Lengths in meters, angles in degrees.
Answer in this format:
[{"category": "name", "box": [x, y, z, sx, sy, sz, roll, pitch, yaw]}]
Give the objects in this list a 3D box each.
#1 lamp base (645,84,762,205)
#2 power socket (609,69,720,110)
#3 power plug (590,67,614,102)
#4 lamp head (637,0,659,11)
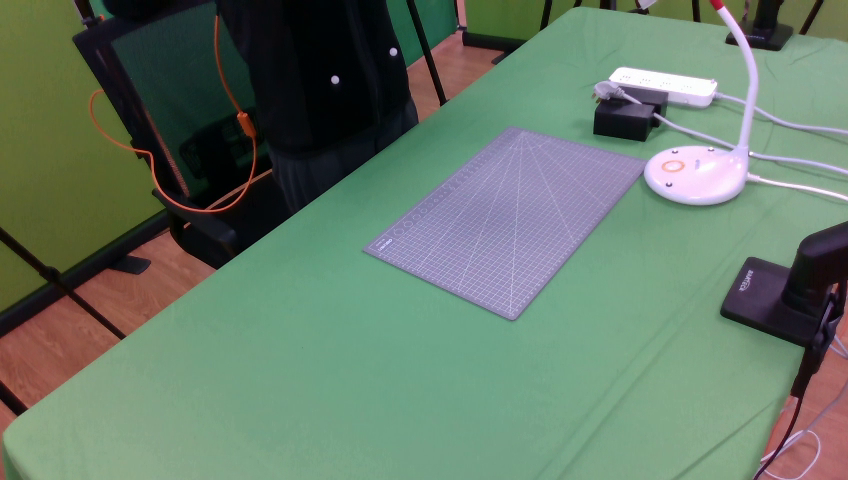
[{"category": "lamp base", "box": [0.461, -0.170, 0.975, 0.179, 0.181, 0.160, 3, 41, 11]}, {"category": "power socket", "box": [0.492, -0.316, 1.256, 0.225, 0.033, 0.072, 20, 49, 30]}, {"category": "power plug", "box": [0.354, -0.304, 1.198, 0.035, 0.052, 0.072, 41, 41, -8]}, {"category": "lamp head", "box": [0.330, -0.391, 0.827, 0.122, 0.113, 0.112, -21, 35, 25]}]
